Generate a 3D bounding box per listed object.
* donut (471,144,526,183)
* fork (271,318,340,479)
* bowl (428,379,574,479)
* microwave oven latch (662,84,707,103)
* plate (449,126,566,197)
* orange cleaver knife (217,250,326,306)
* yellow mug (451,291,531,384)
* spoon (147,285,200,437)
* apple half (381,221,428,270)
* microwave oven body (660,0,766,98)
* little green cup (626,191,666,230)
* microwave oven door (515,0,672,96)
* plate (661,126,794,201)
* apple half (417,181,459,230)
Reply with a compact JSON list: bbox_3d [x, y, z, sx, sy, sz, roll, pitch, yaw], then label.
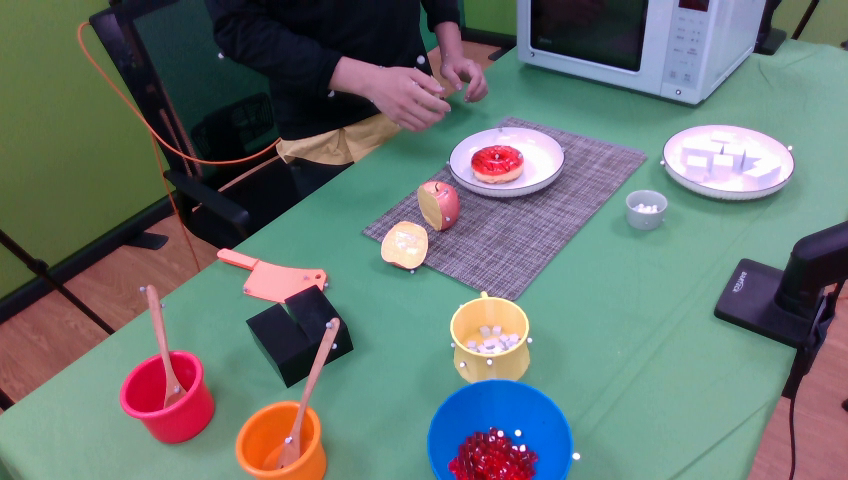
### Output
[{"bbox_3d":[0.133,-0.139,1.083,0.099,0.048,0.098,-5,38,5],"label":"donut"},{"bbox_3d":[-0.132,0.186,0.676,0.028,0.019,0.207,17,90,28],"label":"fork"},{"bbox_3d":[0.082,0.233,0.644,0.151,0.077,0.150,-4,39,4],"label":"bowl"},{"bbox_3d":[0.517,-0.296,1.204,0.078,0.029,0.030,27,52,35],"label":"microwave oven latch"},{"bbox_3d":[0.150,-0.138,1.097,0.209,0.038,0.208,-4,40,4],"label":"plate"},{"bbox_3d":[-0.248,0.059,0.945,0.210,0.012,0.077,12,48,20],"label":"orange cleaver knife"},{"bbox_3d":[0.085,0.120,0.786,0.100,0.064,0.130,-7,39,1],"label":"yellow mug"},{"bbox_3d":[-0.318,0.148,0.754,0.042,0.021,0.193,-15,85,-10],"label":"spoon"},{"bbox_3d":[-0.025,0.012,0.946,0.081,0.033,0.081,-5,73,16],"label":"apple half"},{"bbox_3d":[0.472,-0.513,1.317,0.438,0.261,0.327,26,51,34],"label":"microwave oven body"},{"bbox_3d":[0.352,-0.046,0.963,0.061,0.039,0.061,-4,40,4],"label":"little green cup"},{"bbox_3d":[0.343,-0.454,1.259,0.353,0.245,0.039,26,51,33],"label":"microwave oven door"},{"bbox_3d":[0.513,-0.128,1.035,0.207,0.039,0.206,-4,40,4],"label":"plate"},{"bbox_3d":[0.030,-0.060,0.995,0.053,0.075,0.080,-23,39,-22],"label":"apple half"}]
